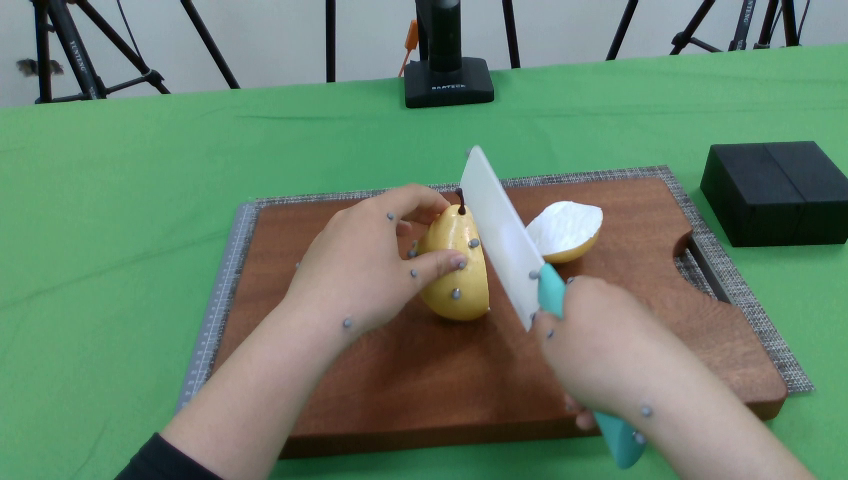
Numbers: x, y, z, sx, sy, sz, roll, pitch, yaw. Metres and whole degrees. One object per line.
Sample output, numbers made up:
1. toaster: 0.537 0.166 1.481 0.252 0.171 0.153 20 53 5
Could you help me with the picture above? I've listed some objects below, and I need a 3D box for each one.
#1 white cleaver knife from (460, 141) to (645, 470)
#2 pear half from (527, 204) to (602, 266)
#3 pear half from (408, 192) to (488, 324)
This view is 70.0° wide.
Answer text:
1. white cleaver knife: 0.076 0.029 0.431 0.021 0.066 0.283 -5 44 -15
2. pear half: 0.118 0.000 0.515 0.070 0.031 0.087 -11 23 17
3. pear half: 0.016 0.012 0.450 0.056 0.111 0.075 -13 36 -10
